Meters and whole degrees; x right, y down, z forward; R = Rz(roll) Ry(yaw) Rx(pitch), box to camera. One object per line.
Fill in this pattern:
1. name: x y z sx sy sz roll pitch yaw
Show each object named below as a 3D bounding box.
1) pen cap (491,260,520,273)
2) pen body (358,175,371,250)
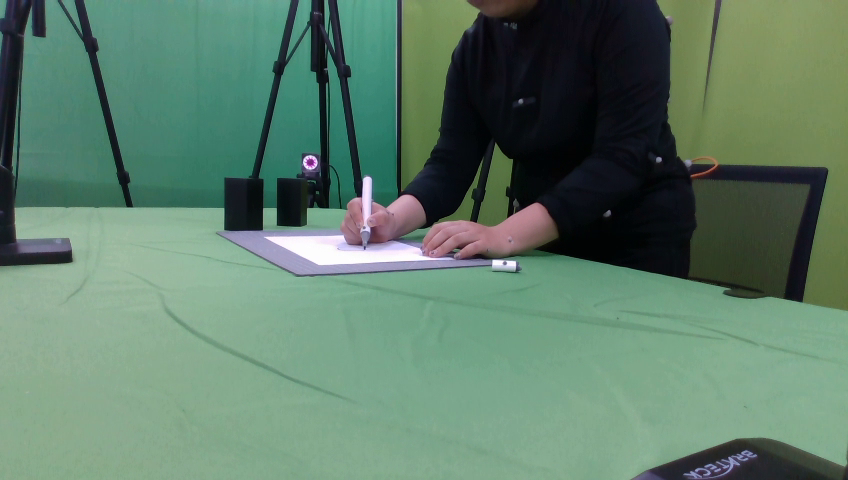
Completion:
1. pen cap: 0.110 0.036 0.813 0.038 0.017 0.017 3 7 7
2. pen body: -0.096 -0.044 0.981 0.017 0.144 0.017 0 -33 0
